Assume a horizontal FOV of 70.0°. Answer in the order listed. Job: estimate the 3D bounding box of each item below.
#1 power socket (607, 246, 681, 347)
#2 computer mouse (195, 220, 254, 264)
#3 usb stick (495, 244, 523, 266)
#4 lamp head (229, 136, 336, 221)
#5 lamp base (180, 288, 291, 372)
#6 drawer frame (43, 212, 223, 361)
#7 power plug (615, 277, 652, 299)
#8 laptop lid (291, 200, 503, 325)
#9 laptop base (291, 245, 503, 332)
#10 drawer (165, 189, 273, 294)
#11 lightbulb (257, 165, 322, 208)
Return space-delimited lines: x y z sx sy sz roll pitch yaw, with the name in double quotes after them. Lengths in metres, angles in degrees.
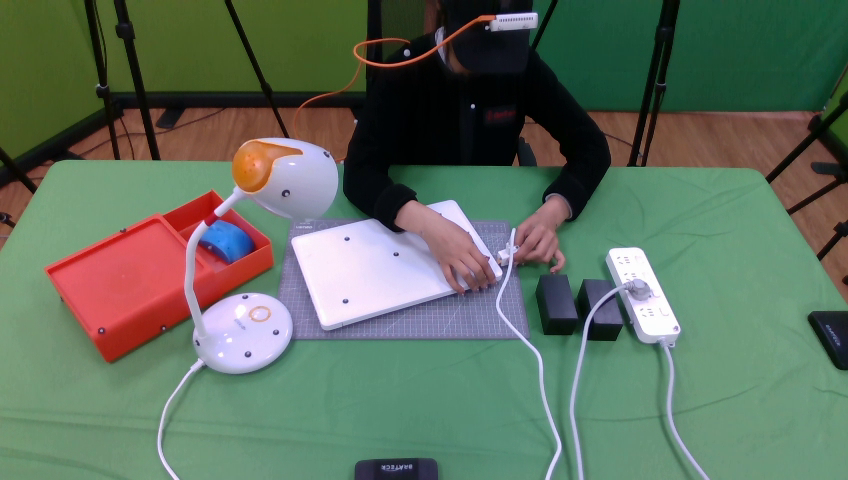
0.403 0.096 1.123 0.072 0.033 0.225 -3 47 -5 "power socket"
-0.381 -0.002 1.153 0.116 0.041 0.062 28 53 28 "computer mouse"
0.159 0.031 1.159 0.059 0.027 0.021 -23 55 -11 "usb stick"
-0.196 -0.085 0.791 0.112 0.112 0.123 36 14 27 "lamp head"
-0.309 0.108 0.959 0.160 0.181 0.179 29 55 22 "lamp base"
-0.498 0.073 1.049 0.213 0.083 0.200 -34 57 -31 "drawer frame"
0.375 0.088 1.097 0.072 0.053 0.035 6 46 2 "power plug"
-0.055 0.030 1.151 0.357 0.013 0.240 -13 46 -17 "laptop lid"
-0.055 0.039 1.157 0.355 0.023 0.234 -15 46 -17 "laptop base"
-0.419 0.022 1.109 0.193 0.073 0.211 37 55 27 "drawer"
-0.181 -0.075 0.809 0.059 0.059 0.108 34 12 26 "lightbulb"
